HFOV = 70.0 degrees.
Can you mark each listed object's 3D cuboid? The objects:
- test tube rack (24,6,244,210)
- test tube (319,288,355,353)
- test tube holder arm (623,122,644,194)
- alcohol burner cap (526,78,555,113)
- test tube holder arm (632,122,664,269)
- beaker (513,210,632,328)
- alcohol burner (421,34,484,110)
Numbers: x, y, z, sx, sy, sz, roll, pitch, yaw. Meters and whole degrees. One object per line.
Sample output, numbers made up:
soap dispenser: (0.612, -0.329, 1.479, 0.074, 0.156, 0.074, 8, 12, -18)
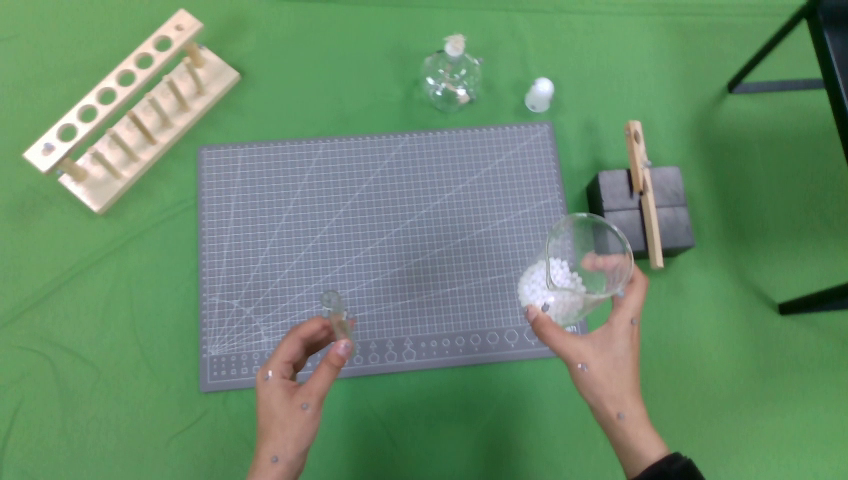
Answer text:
test tube rack: (-0.332, -0.155, 0.716, 0.066, 0.085, 0.242, 39, 76, 8)
test tube: (-0.074, 0.075, 0.532, 0.017, 0.151, 0.017, 0, 65, -1)
test tube holder arm: (0.250, -0.098, 0.720, 0.010, 0.015, 0.087, -2, 76, -11)
alcohol burner cap: (0.151, -0.188, 0.777, 0.034, 0.048, 0.033, 1, 74, -3)
test tube holder arm: (0.260, -0.054, 0.711, 0.013, 0.015, 0.177, -3, 76, -12)
beaker: (0.121, 0.032, 0.526, 0.084, 0.101, 0.073, -35, 76, -22)
alcohol burner: (0.037, -0.210, 0.739, 0.078, 0.119, 0.077, 1, 73, -4)
